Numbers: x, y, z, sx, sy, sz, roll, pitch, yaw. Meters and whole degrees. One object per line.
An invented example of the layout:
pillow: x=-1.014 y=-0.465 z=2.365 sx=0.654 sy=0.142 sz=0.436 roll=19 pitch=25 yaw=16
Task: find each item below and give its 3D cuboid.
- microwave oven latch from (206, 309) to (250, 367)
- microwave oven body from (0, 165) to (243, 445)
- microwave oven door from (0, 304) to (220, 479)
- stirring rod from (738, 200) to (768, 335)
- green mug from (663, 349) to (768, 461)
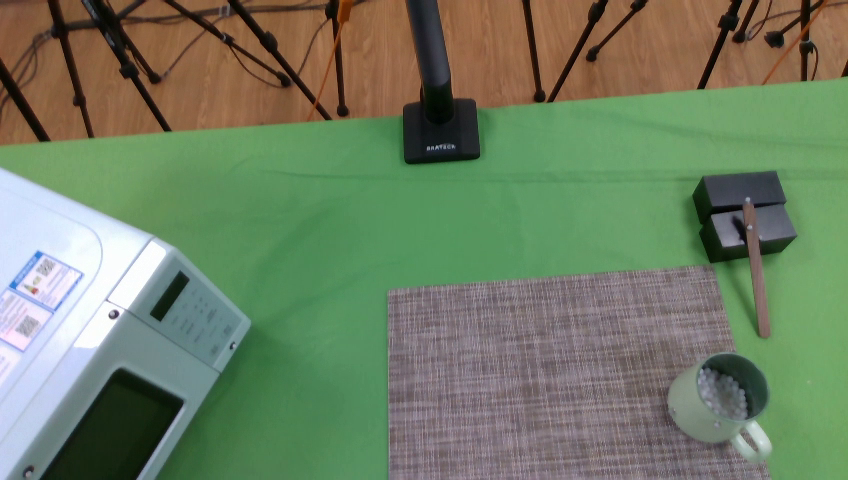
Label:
microwave oven latch: x=-0.264 y=0.127 z=0.806 sx=0.030 sy=0.030 sz=0.079 roll=24 pitch=69 yaw=15
microwave oven body: x=-0.483 y=0.176 z=0.692 sx=0.324 sy=0.262 sz=0.440 roll=22 pitch=68 yaw=15
microwave oven door: x=-0.370 y=0.260 z=0.635 sx=0.039 sy=0.246 sz=0.354 roll=21 pitch=67 yaw=16
stirring rod: x=0.428 y=0.035 z=0.787 sx=0.014 sy=0.006 sz=0.176 roll=-7 pitch=87 yaw=13
green mug: x=0.344 y=0.193 z=0.697 sx=0.092 sy=0.106 sz=0.124 roll=-26 pitch=64 yaw=-8
